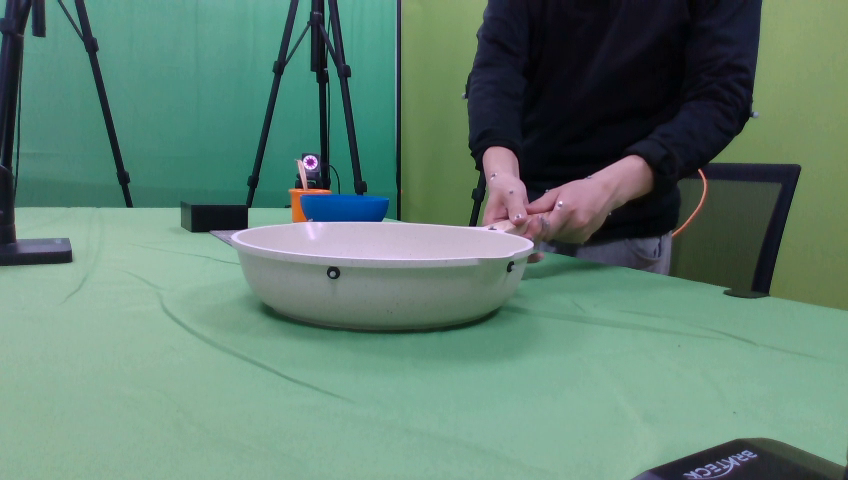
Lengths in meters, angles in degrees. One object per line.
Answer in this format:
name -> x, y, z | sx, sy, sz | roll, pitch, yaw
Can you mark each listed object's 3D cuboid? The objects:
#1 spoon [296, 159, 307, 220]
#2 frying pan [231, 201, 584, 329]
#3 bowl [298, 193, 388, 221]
spoon -> -0.264, -0.113, 1.338 | 0.042, 0.193, 0.021 | 0, -37, -21
frying pan -> 0.037, 0.002, 0.672 | 0.490, 0.102, 0.305 | -16, 18, -40
bowl -> -0.136, -0.037, 1.018 | 0.151, 0.077, 0.151 | 2, 7, 0
